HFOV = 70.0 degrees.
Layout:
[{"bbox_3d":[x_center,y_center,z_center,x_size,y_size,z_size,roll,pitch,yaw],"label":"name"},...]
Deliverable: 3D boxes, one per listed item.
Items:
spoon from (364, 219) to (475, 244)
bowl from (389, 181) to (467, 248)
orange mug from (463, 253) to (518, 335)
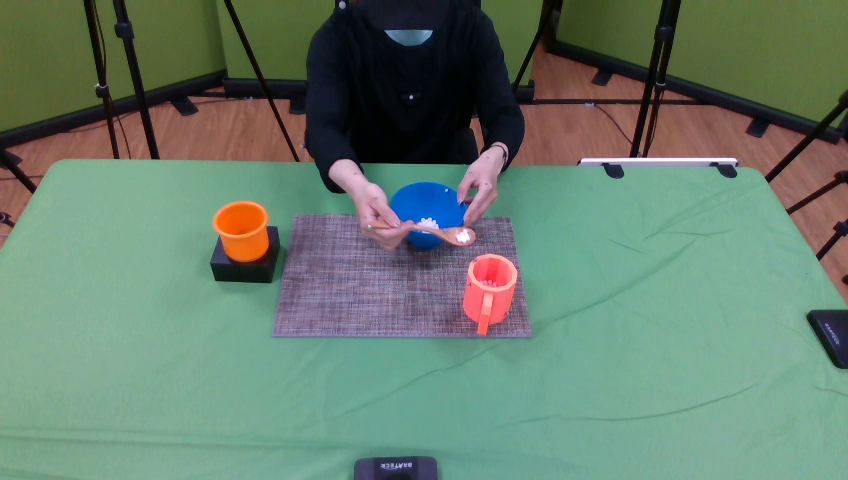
[{"bbox_3d":[-0.006,-0.020,1.019,0.194,0.022,0.041,9,51,-22],"label":"spoon"},{"bbox_3d":[0.006,-0.038,1.188,0.151,0.077,0.150,2,46,-2],"label":"bowl"},{"bbox_3d":[0.113,0.098,1.050,0.083,0.101,0.125,10,41,5],"label":"orange mug"}]
